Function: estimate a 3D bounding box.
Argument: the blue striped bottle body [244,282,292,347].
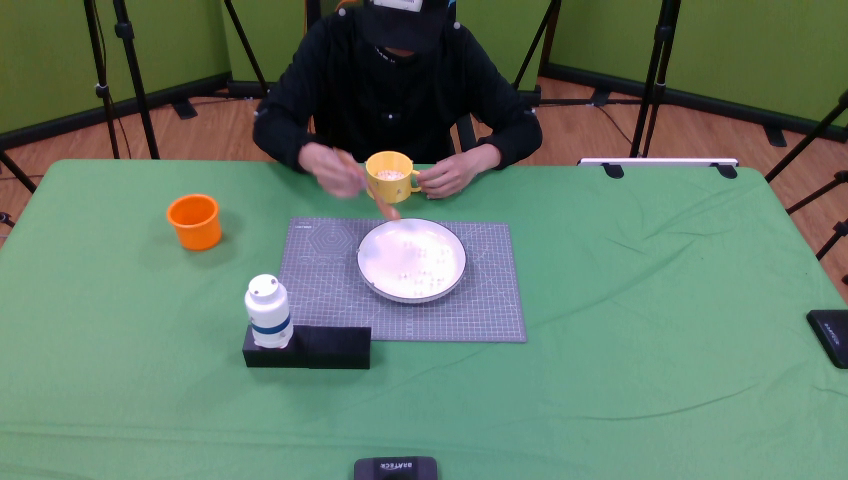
[{"bbox_3d":[-0.241,0.108,0.937,0.063,0.121,0.062,2,46,-2],"label":"blue striped bottle body"}]

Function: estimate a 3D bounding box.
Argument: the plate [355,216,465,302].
[{"bbox_3d":[-0.027,0.039,1.144,0.208,0.039,0.206,2,46,-2],"label":"plate"}]

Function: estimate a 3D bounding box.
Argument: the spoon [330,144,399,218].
[{"bbox_3d":[-0.106,-0.106,1.097,0.021,0.195,0.041,-23,38,20],"label":"spoon"}]

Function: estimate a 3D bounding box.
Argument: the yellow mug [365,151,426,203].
[{"bbox_3d":[-0.061,-0.133,1.290,0.131,0.064,0.099,8,46,4],"label":"yellow mug"}]

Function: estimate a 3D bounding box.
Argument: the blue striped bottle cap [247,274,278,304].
[{"bbox_3d":[-0.239,0.072,0.900,0.044,0.021,0.044,4,46,-4],"label":"blue striped bottle cap"}]
